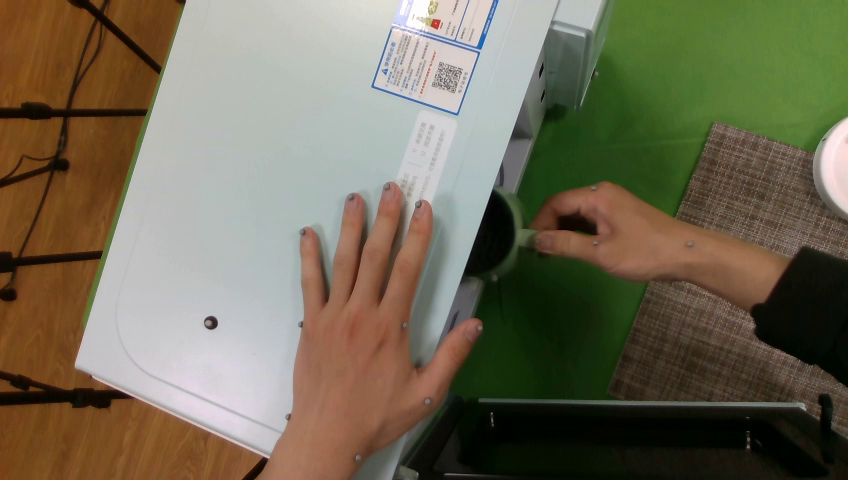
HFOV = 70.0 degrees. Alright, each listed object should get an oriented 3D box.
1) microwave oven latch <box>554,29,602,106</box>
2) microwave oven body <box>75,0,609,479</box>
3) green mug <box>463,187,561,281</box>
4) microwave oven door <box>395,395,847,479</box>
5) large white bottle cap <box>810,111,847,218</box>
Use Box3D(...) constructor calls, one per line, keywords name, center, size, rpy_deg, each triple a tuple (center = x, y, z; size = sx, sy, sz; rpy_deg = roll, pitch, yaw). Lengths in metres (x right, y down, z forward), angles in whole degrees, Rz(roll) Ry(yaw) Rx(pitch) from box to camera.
Box3D(name="microwave oven latch", center=(0.155, -0.179, 0.612), size=(0.030, 0.029, 0.079), rpy_deg=(20, 95, 11))
Box3D(name="microwave oven body", center=(-0.060, -0.061, 0.558), size=(0.325, 0.261, 0.442), rpy_deg=(19, 94, 10))
Box3D(name="green mug", center=(0.059, -0.006, 0.541), size=(0.125, 0.105, 0.092), rpy_deg=(7, 90, 8))
Box3D(name="microwave oven door", center=(0.171, 0.178, 0.507), size=(0.355, 0.244, 0.039), rpy_deg=(-3, 89, 12))
Box3D(name="large white bottle cap", center=(0.435, -0.074, 0.580), size=(0.114, 0.018, 0.114), rpy_deg=(0, 90, 11))
